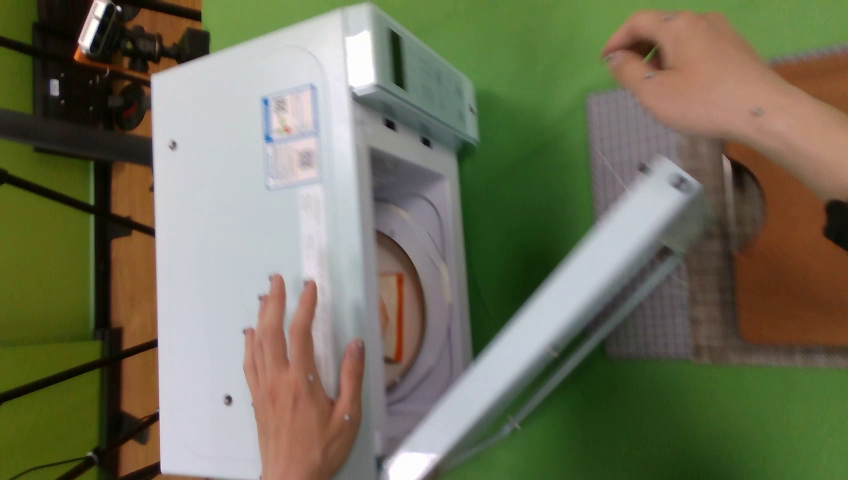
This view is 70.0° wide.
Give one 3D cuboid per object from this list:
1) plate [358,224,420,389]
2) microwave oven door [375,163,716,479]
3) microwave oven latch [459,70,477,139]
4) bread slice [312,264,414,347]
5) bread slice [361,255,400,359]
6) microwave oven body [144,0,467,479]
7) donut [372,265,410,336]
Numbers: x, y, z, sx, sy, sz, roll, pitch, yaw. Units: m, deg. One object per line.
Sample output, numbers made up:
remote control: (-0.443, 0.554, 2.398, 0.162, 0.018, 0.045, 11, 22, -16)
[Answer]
plate: (-0.096, 0.083, 0.748, 0.207, 0.039, 0.207, -2, 86, 23)
microwave oven door: (0.125, 0.087, 0.574, 0.039, 0.245, 0.356, 47, 107, 23)
microwave oven latch: (0.045, -0.166, 0.744, 0.030, 0.030, 0.079, -8, 84, 26)
bread slice: (-0.078, 0.085, 0.764, 0.131, 0.019, 0.105, -3, 96, 13)
bread slice: (-0.089, 0.092, 0.676, 0.134, 0.018, 0.106, -31, 76, 35)
microwave oven body: (-0.120, 0.018, 0.709, 0.325, 0.262, 0.440, -6, 84, 26)
donut: (-0.064, 0.077, 0.718, 0.099, 0.048, 0.099, 4, 107, 13)
